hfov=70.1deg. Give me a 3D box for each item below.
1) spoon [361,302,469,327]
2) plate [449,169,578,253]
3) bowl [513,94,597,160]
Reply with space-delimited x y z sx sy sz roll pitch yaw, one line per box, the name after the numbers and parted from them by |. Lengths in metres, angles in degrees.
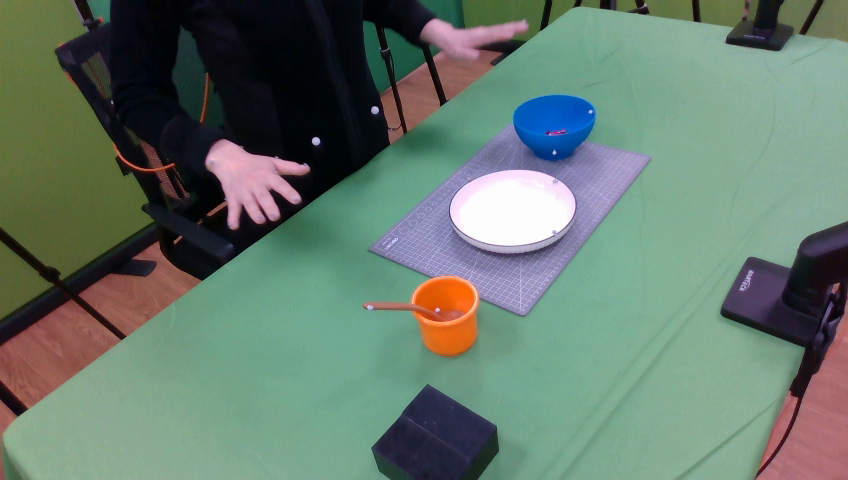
-0.008 0.092 0.779 0.041 0.195 0.021 33 99 42 | spoon
0.146 -0.044 0.993 0.209 0.038 0.208 -5 40 5 | plate
0.244 -0.202 1.130 0.151 0.077 0.150 -6 40 5 | bowl
